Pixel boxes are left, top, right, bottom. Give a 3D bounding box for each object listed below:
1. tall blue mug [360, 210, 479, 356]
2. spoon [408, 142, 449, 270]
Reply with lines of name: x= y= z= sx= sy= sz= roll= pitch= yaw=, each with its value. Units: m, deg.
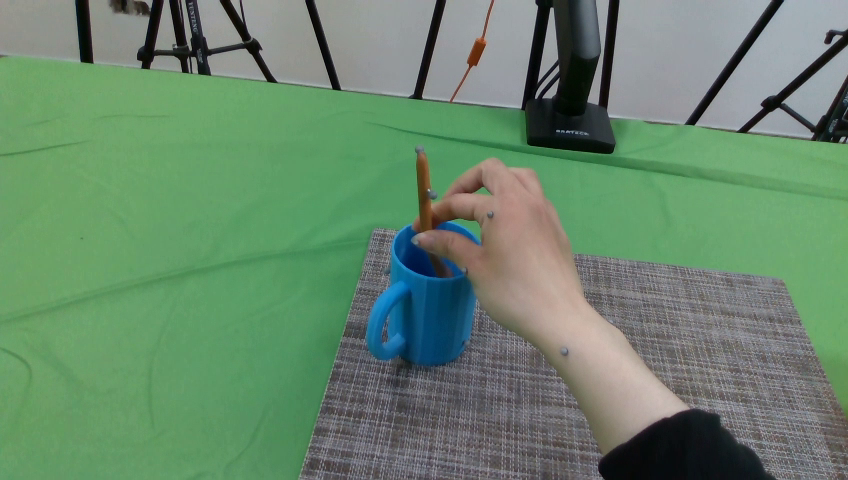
tall blue mug: x=-0.002 y=0.048 z=0.518 sx=0.077 sy=0.109 sz=0.106 roll=14 pitch=42 yaw=8
spoon: x=0.003 y=-0.002 z=0.467 sx=0.021 sy=0.196 sz=0.041 roll=-4 pitch=53 yaw=9
